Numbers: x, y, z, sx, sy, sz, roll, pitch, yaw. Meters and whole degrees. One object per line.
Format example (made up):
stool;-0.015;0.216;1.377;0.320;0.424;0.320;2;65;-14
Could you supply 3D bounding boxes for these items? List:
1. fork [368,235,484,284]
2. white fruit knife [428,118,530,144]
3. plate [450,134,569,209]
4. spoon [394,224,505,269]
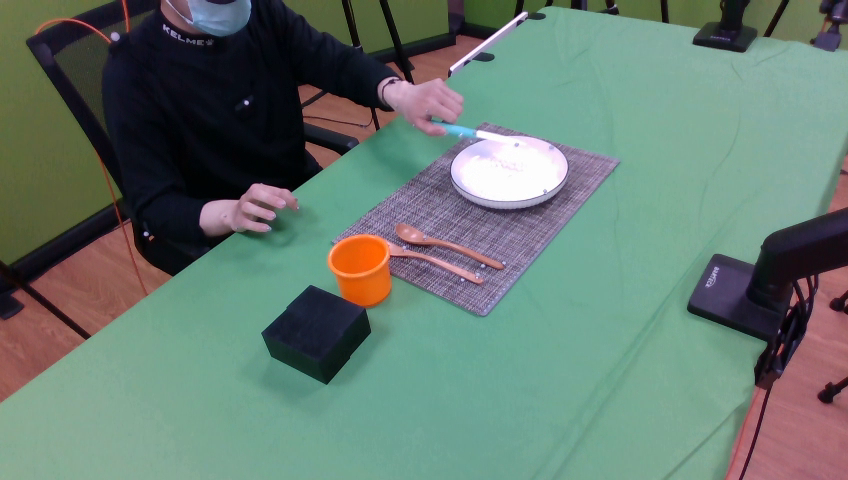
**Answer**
fork;0.001;0.030;0.930;0.206;0.019;0.028;18;40;28
white fruit knife;0.089;-0.185;1.038;0.206;0.016;0.027;17;43;31
plate;0.149;-0.117;1.066;0.209;0.038;0.208;-3;41;3
spoon;0.037;0.010;0.945;0.192;0.022;0.042;17;28;26
